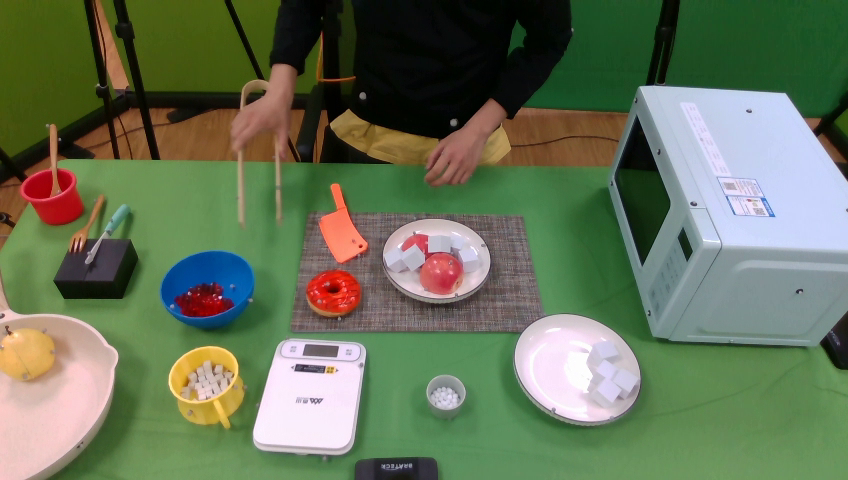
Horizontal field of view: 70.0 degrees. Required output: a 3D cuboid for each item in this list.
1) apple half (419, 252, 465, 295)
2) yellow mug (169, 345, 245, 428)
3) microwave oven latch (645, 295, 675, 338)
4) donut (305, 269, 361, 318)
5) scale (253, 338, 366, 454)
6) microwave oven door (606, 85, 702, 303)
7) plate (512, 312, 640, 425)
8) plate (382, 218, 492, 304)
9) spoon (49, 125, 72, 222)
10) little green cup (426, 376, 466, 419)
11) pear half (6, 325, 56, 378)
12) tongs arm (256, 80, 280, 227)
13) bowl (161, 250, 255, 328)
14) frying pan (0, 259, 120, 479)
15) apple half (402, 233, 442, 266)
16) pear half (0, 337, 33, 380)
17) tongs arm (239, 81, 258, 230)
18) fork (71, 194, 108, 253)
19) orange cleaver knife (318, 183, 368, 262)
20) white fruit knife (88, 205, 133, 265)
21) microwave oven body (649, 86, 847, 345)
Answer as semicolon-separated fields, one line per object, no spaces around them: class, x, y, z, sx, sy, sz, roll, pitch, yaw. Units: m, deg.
apple half;0.035;0.056;1.109;0.074;0.053;0.081;37;55;25
yellow mug;-0.322;0.230;0.922;0.100;0.064;0.130;-24;53;-25
microwave oven latch;0.412;0.134;1.061;0.030;0.029;0.078;3;45;0
donut;-0.160;0.094;1.075;0.099;0.048;0.098;4;45;-3
scale;-0.175;0.236;0.951;0.149;0.032;0.199;4;45;-1
microwave oven door;0.423;-0.094;1.140;0.039;0.245;0.353;2;46;-1
plate;0.246;0.213;0.999;0.208;0.039;0.206;2;46;-2
plate;0.023;0.042;1.143;0.209;0.038;0.208;2;46;-2
spoon;-0.718;-0.131;1.189;0.041;0.021;0.193;-4;90;-6
little green cup;0.033;0.248;0.950;0.061;0.039;0.061;2;46;-2
pear half;-0.608;0.158;0.935;0.076;0.110;0.056;31;51;20
tongs arm;-0.314;-0.185;1.214;0.051;0.026;0.382;-6;56;-5
bowl;-0.362;0.098;1.039;0.151;0.077;0.150;2;45;-2
frying pan;-0.647;0.164;0.936;0.307;0.103;0.485;-19;58;-22
apple half;-0.004;0.013;1.160;0.081;0.033;0.081;5;45;-5
pear half;-0.631;0.184;0.921;0.070;0.088;0.031;29;49;19
tongs arm;-0.352;-0.180;1.209;0.028;0.028;0.385;-8;56;-2
fork;-0.634;-0.036;1.158;0.028;0.019;0.206;-9;32;-7
orange cleaver knife;-0.173;-0.037;1.218;0.077;0.012;0.210;-16;50;-12
white fruit knife;-0.584;-0.013;1.129;0.016;0.027;0.206;0;32;-5
microwave oven body;0.567;-0.053;1.118;0.326;0.261;0.439;2;45;-1
